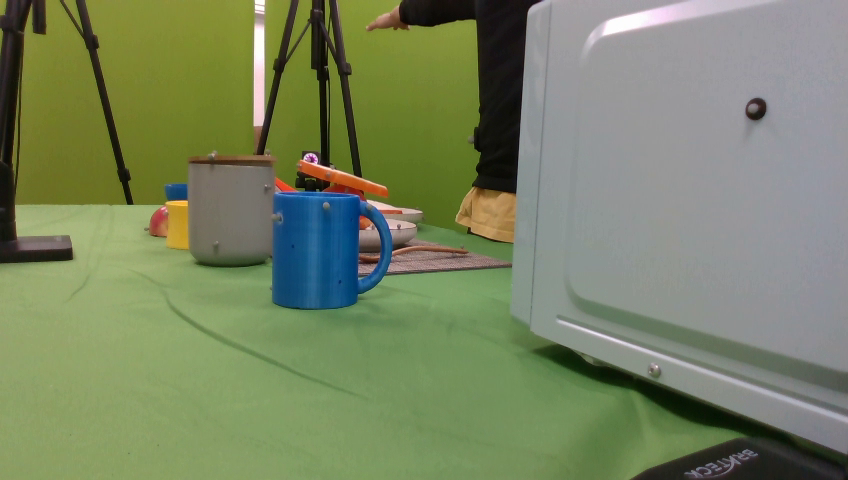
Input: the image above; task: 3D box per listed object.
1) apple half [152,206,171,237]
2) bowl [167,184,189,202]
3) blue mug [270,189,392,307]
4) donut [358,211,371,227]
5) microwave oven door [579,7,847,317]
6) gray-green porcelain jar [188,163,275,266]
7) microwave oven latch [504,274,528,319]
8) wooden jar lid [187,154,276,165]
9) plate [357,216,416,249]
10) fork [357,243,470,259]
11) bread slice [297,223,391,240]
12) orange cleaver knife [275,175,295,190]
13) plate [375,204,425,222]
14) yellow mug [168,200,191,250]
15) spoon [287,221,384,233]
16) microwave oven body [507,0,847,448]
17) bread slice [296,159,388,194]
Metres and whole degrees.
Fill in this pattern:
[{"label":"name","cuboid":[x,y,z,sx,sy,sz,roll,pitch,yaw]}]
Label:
[{"label":"apple half","cuboid":[-0.415,-0.034,1.017,0.081,0.053,0.074,1,10,-8]},{"label":"bowl","cuboid":[-0.408,-0.064,1.154,0.151,0.077,0.151,2,8,0]},{"label":"blue mug","cuboid":[-0.090,0.005,0.588,0.117,0.106,0.082,1,7,-11]},{"label":"donut","cuboid":[-0.129,-0.041,0.956,0.099,0.048,0.099,2,8,0]},{"label":"microwave oven door","cuboid":[0.294,-0.067,0.570,0.358,0.243,0.039,-3,9,-31]},{"label":"gray-green porcelain jar","cuboid":[-0.246,-0.034,0.779,0.106,0.126,0.106,1,7,0]},{"label":"microwave oven latch","cuboid":[0.100,0.041,0.470,0.079,0.029,0.030,-1,7,-27]},{"label":"wooden jar lid","cuboid":[-0.244,-0.097,0.771,0.108,0.020,0.108,-1,7,0]},{"label":"plate","cuboid":[-0.116,-0.014,0.967,0.208,0.039,0.207,2,7,0]},{"label":"fork","cuboid":[-0.017,0.014,0.845,0.208,0.018,0.028,-5,-1,-35]},{"label":"bread slice","cuboid":[-0.121,-0.015,0.970,0.106,0.018,0.135,9,9,40]},{"label":"orange cleaver knife","cuboid":[-0.283,-0.087,1.343,0.212,0.077,0.012,23,-16,-41]},{"label":"plate","cuboid":[-0.102,-0.053,1.299,0.209,0.038,0.209,2,8,0]},{"label":"yellow mug","cuboid":[-0.320,-0.023,0.904,0.130,0.064,0.100,8,10,36]},{"label":"spoon","cuboid":[-0.157,-0.027,1.110,0.195,0.021,0.041,-4,-14,-35]},{"label":"microwave oven body","cuboid":[0.331,-0.042,0.425,0.444,0.260,0.324,-2,8,-31]},{"label":"bread slice","cuboid":[-0.132,-0.102,0.952,0.132,0.019,0.104,13,6,-36]}]
